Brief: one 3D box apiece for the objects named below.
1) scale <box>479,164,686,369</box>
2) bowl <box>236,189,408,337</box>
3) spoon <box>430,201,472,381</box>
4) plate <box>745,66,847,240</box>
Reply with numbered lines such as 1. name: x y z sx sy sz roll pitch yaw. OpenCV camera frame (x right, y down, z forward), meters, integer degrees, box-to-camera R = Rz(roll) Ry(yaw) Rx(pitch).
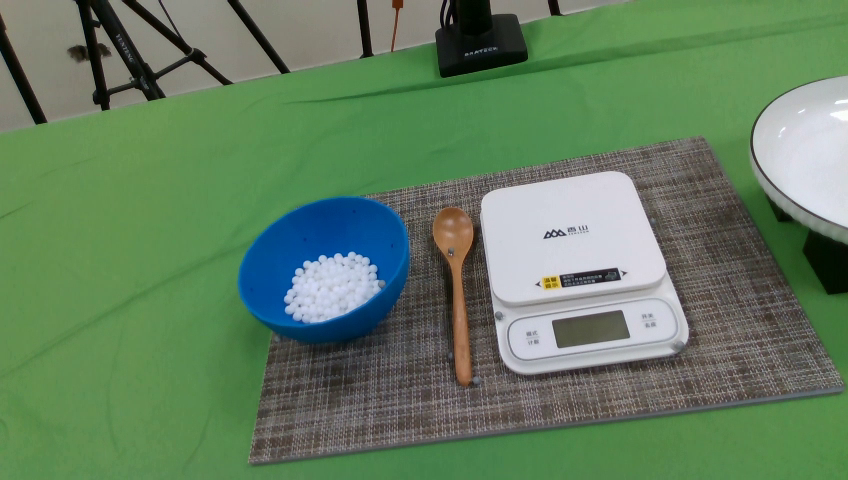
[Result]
1. scale: 0.129 0.015 0.535 0.148 0.032 0.199 -10 47 7
2. bowl: -0.081 0.034 0.542 0.151 0.077 0.150 -7 46 8
3. spoon: 0.028 0.038 0.547 0.041 0.022 0.191 2 47 -3
4. plate: 0.365 -0.065 0.477 0.209 0.038 0.207 -7 47 8
